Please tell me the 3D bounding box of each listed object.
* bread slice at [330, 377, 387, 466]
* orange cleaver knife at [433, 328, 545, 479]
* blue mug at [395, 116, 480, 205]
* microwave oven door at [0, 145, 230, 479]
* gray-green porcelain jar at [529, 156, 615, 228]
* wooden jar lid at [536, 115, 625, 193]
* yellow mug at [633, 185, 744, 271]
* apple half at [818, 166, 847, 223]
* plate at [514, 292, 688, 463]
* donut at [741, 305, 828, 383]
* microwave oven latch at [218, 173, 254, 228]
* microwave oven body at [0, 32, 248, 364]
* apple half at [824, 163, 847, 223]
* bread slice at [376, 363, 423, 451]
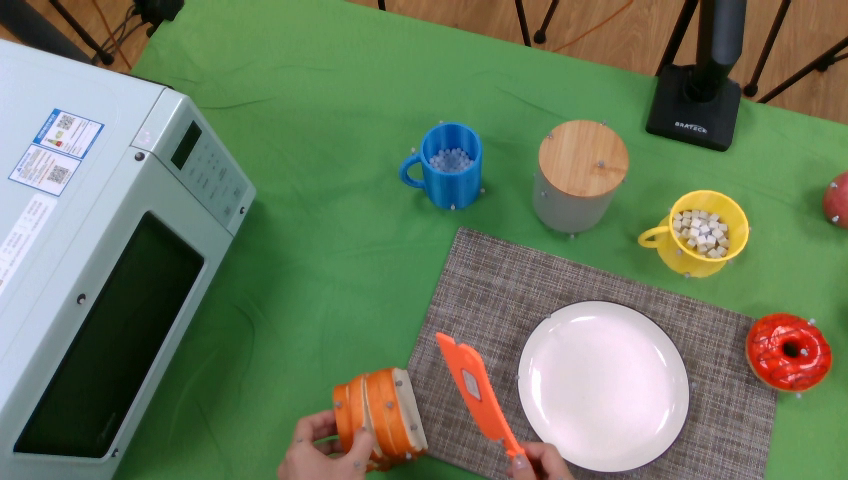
[{"bbox_3d":[-0.076,0.208,0.710,0.018,0.135,0.106,-20,69,3],"label":"bread slice"},{"bbox_3d":[0.070,0.180,0.618,0.012,0.077,0.212,-35,105,-28],"label":"orange cleaver knife"},{"bbox_3d":[0.018,-0.105,0.837,0.116,0.106,0.081,-7,69,1],"label":"blue mug"},{"bbox_3d":[-0.355,0.098,0.691,0.039,0.245,0.354,18,71,10],"label":"microwave oven door"},{"bbox_3d":[0.196,-0.081,0.807,0.106,0.127,0.105,-1,69,3],"label":"gray-green porcelain jar"},{"bbox_3d":[0.192,-0.104,0.749,0.108,0.021,0.107,-1,67,3],"label":"wooden jar lid"},{"bbox_3d":[0.346,-0.014,0.805,0.131,0.064,0.099,-5,70,3],"label":"yellow mug"},{"bbox_3d":[0.547,-0.055,0.802,0.033,0.082,0.080,-13,69,-6],"label":"apple half"},{"bbox_3d":[0.216,0.169,0.755,0.207,0.039,0.206,-1,70,3],"label":"plate"},{"bbox_3d":[0.446,0.129,0.753,0.099,0.048,0.098,-1,70,4],"label":"donut"},{"bbox_3d":[-0.269,-0.059,0.853,0.030,0.030,0.079,21,73,11],"label":"microwave oven latch"},{"bbox_3d":[-0.475,0.019,0.734,0.325,0.262,0.439,18,72,10],"label":"microwave oven body"},{"bbox_3d":[0.584,-0.064,0.805,0.053,0.075,0.080,-11,65,-6],"label":"apple half"},{"bbox_3d":[-0.027,0.194,0.704,0.019,0.132,0.104,-18,74,2],"label":"bread slice"}]
